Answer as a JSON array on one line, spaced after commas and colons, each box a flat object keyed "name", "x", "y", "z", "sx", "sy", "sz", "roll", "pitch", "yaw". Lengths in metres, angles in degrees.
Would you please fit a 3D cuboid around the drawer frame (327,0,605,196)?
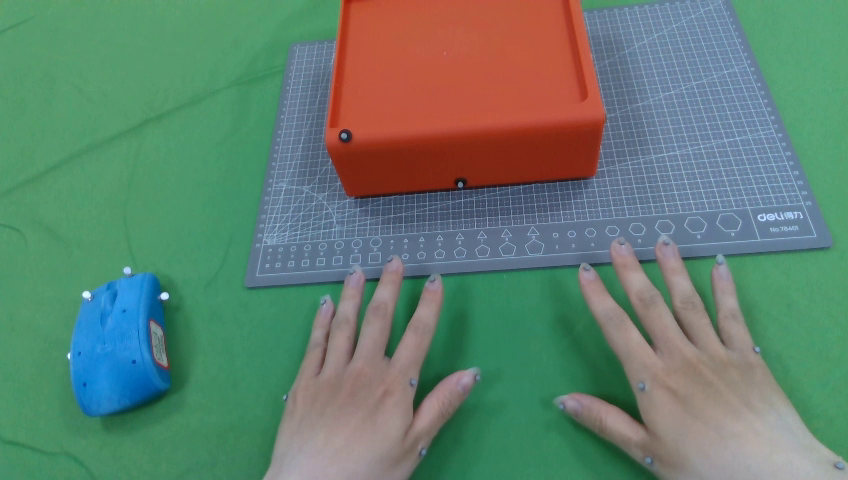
[{"name": "drawer frame", "x": 0.036, "y": -0.143, "z": 0.530, "sx": 0.213, "sy": 0.083, "sz": 0.199, "roll": -5, "pitch": 57, "yaw": 7}]

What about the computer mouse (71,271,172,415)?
[{"name": "computer mouse", "x": -0.232, "y": 0.073, "z": 0.465, "sx": 0.063, "sy": 0.041, "sz": 0.116, "roll": -21, "pitch": 52, "yaw": -2}]

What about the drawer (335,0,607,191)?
[{"name": "drawer", "x": 0.039, "y": -0.143, "z": 0.530, "sx": 0.211, "sy": 0.074, "sz": 0.192, "roll": -4, "pitch": 57, "yaw": 7}]
